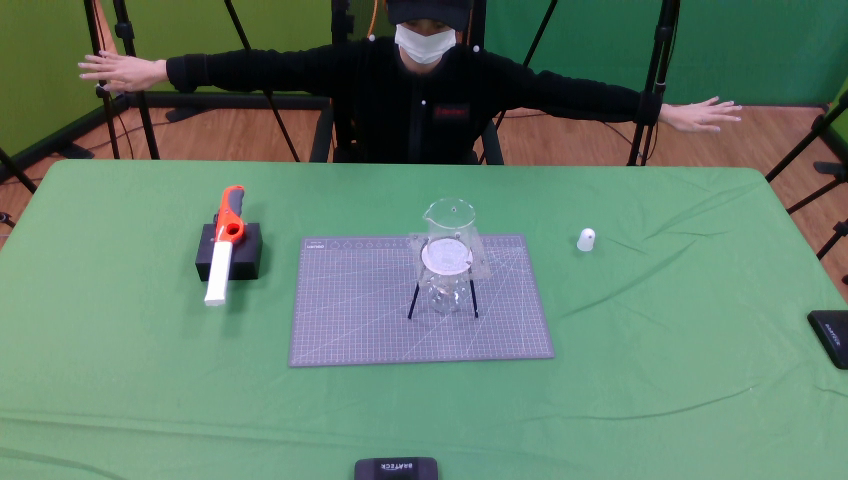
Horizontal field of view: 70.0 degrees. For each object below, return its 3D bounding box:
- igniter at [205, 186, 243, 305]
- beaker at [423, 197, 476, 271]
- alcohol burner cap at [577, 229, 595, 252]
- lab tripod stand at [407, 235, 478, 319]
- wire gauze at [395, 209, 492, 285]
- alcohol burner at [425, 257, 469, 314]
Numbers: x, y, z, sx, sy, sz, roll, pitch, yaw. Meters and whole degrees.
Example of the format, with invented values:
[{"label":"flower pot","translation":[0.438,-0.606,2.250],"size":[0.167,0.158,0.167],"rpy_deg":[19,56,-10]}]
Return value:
[{"label":"igniter","translation":[-0.361,0.001,1.100],"size":[0.057,0.025,0.274],"rpy_deg":[-2,49,-6]},{"label":"beaker","translation":[0.038,-0.007,0.967],"size":[0.084,0.101,0.073],"rpy_deg":[-4,43,-7]},{"label":"alcohol burner cap","translation":[0.326,-0.002,1.213],"size":[0.034,0.048,0.033],"rpy_deg":[1,47,-1]},{"label":"lab tripod stand","translation":[0.032,0.065,1.057],"size":[0.148,0.132,0.147],"rpy_deg":[1,45,-1]},{"label":"wire gauze","translation":[0.031,0.011,0.995],"size":[0.125,0.011,0.120],"rpy_deg":[-23,53,-19]},{"label":"alcohol burner","translation":[0.040,0.074,1.062],"size":[0.078,0.120,0.077],"rpy_deg":[1,46,-1]}]
